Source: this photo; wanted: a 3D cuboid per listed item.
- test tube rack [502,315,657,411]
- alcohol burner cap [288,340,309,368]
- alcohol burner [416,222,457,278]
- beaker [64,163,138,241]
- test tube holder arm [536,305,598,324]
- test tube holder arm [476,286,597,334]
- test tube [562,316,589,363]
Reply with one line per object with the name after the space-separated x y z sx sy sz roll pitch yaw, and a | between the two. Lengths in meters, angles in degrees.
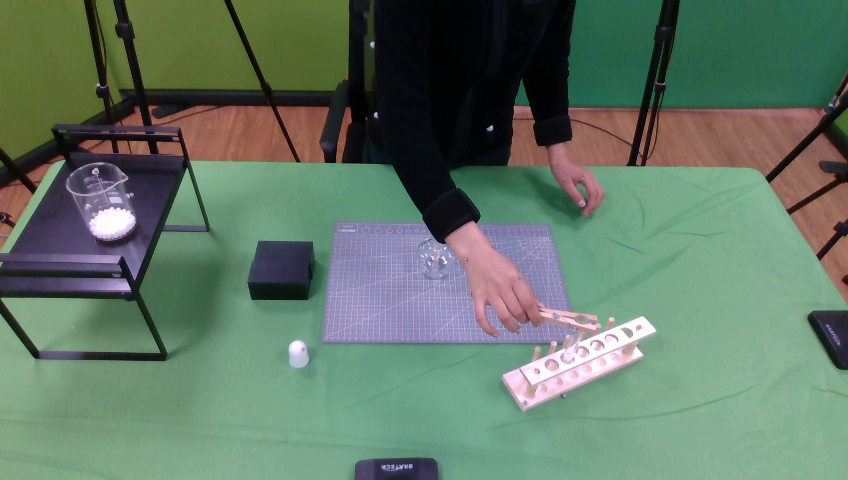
0.253 0.186 0.988 0.242 0.085 0.066 -18 50 -20 | test tube rack
-0.207 0.183 0.991 0.034 0.048 0.033 2 47 -2 | alcohol burner cap
0.024 0.014 1.116 0.078 0.120 0.077 1 45 -1 | alcohol burner
-0.477 -0.055 0.910 0.084 0.101 0.073 -9 48 -13 | beaker
0.202 0.105 0.860 0.088 0.015 0.010 8 59 11 | test tube holder arm
0.158 0.099 0.869 0.178 0.015 0.013 17 60 16 | test tube holder arm
0.223 0.157 0.906 0.017 0.151 0.017 0 51 0 | test tube
